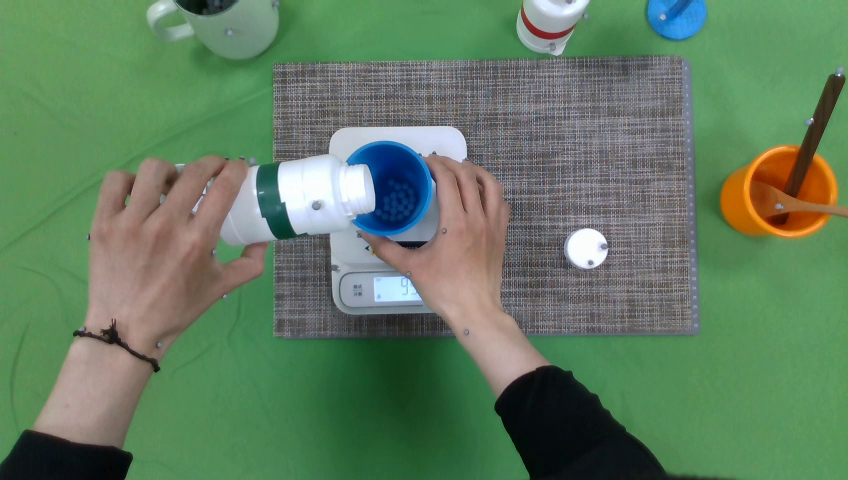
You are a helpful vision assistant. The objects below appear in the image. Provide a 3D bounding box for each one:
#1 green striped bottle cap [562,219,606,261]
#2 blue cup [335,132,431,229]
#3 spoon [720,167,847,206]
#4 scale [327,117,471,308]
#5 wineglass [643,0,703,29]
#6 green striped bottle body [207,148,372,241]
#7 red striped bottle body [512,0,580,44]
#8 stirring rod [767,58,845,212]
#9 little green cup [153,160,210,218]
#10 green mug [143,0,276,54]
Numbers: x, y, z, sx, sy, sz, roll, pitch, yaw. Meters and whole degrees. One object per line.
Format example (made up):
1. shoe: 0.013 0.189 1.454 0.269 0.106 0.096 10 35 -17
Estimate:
1. green striped bottle cap: 0.172 0.000 0.649 0.044 0.020 0.044 0 85 2
2. blue cup: -0.036 -0.051 0.580 0.092 0.100 0.092 0 89 0
3. spoon: 0.386 -0.042 0.584 0.022 0.192 0.041 7 97 -42
4. scale: -0.027 -0.029 0.645 0.149 0.031 0.200 -2 88 1
5. wineglass: 0.270 -0.268 0.581 0.074 0.172 0.073 0 87 2
6. green striped bottle body: -0.103 -0.037 0.484 0.119 0.063 0.063 -8 87 6
7. red striped bottle body: 0.126 -0.249 0.610 0.063 0.120 0.063 0 87 1
8. stirring rod: 0.366 -0.094 0.586 0.014 0.178 0.006 8 47 15
9. little green cup: -0.251 -0.052 0.649 0.061 0.038 0.061 0 87 0
10. green mug: -0.224 -0.243 0.623 0.125 0.105 0.092 -23 88 0
